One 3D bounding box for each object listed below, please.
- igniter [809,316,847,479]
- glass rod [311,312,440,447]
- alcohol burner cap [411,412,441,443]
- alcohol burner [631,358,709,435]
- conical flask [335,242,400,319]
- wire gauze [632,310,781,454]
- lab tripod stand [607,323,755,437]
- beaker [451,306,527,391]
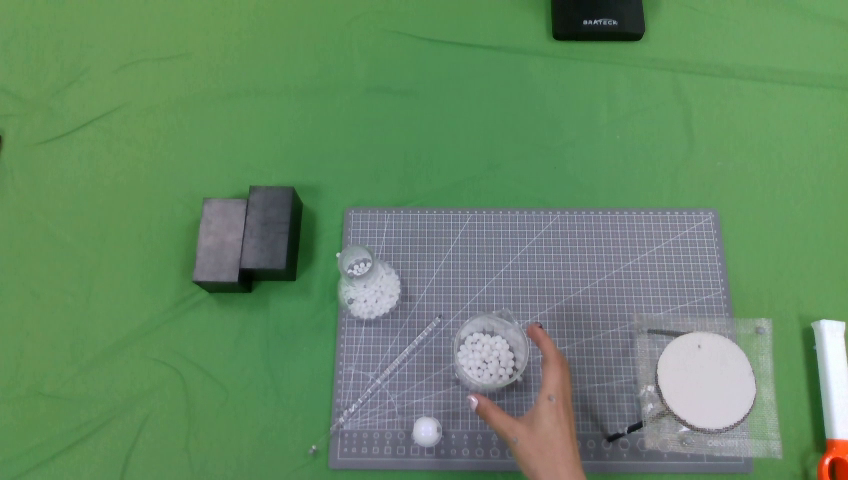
[{"bbox_3d":[0.437,0.217,0.637,0.057,0.025,0.275,8,72,-8],"label":"igniter"},{"bbox_3d":[-0.052,0.151,0.671,0.008,0.008,0.199,42,77,13],"label":"glass rod"},{"bbox_3d":[0.001,0.197,0.638,0.034,0.048,0.033,0,72,2],"label":"alcohol burner cap"},{"bbox_3d":[0.253,0.156,0.611,0.078,0.120,0.077,-1,72,3],"label":"alcohol burner"},{"bbox_3d":[-0.067,0.037,0.648,0.075,0.122,0.075,0,71,1],"label":"conical flask"},{"bbox_3d":[0.251,0.124,0.539,0.125,0.011,0.121,3,74,2],"label":"wire gauze"},{"bbox_3d":[0.251,0.146,0.603,0.148,0.132,0.147,0,74,1],"label":"lab tripod stand"},{"bbox_3d":[0.065,0.116,0.633,0.074,0.101,0.083,23,73,8],"label":"beaker"}]
